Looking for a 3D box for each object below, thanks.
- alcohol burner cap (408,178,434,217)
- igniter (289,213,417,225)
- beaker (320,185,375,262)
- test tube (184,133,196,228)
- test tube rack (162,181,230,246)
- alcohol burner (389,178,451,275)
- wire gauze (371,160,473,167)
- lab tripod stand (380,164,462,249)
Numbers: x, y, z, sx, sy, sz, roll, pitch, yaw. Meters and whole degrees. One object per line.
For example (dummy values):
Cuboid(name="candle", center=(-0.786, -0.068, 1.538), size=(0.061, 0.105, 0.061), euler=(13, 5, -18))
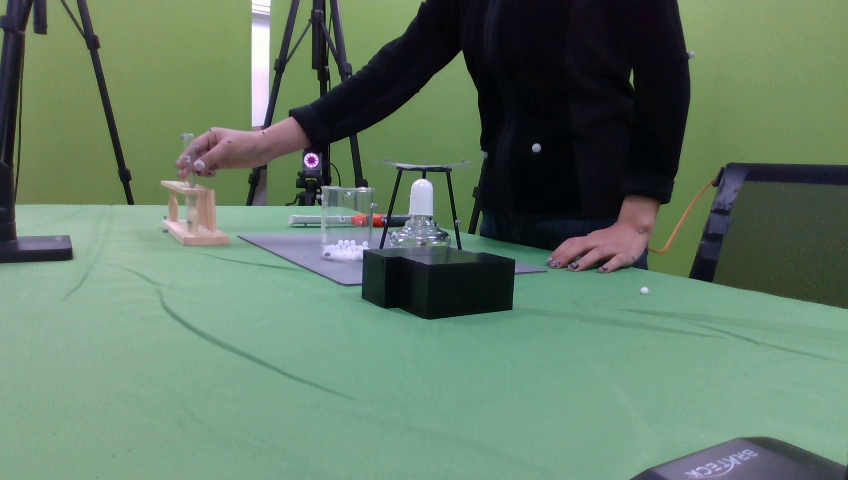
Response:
Cuboid(name="alcohol burner cap", center=(-0.003, -0.053, 0.746), size=(0.034, 0.048, 0.034), euler=(2, 2, 0))
Cuboid(name="igniter", center=(-0.144, -0.044, 1.275), size=(0.278, 0.025, 0.057), euler=(-1, -2, -27))
Cuboid(name="beaker", center=(-0.106, -0.024, 0.826), size=(0.074, 0.100, 0.084), euler=(2, 6, -7))
Cuboid(name="test tube", center=(-0.363, -0.090, 0.941), size=(0.017, 0.150, 0.017), euler=(0, 6, 0))
Cuboid(name="test tube rack", center=(-0.388, -0.050, 1.015), size=(0.067, 0.085, 0.241), euler=(-2, 9, -30))
Cuboid(name="alcohol burner", center=(-0.005, -0.017, 0.748), size=(0.078, 0.119, 0.078), euler=(1, 9, 0))
Cuboid(name="wire gauze", center=(-0.005, -0.122, 0.958), size=(0.122, 0.011, 0.124), euler=(-4, 9, -33))
Cuboid(name="lab tripod stand", center=(-0.004, -0.055, 0.967), size=(0.148, 0.131, 0.148), euler=(2, 9, 0))
